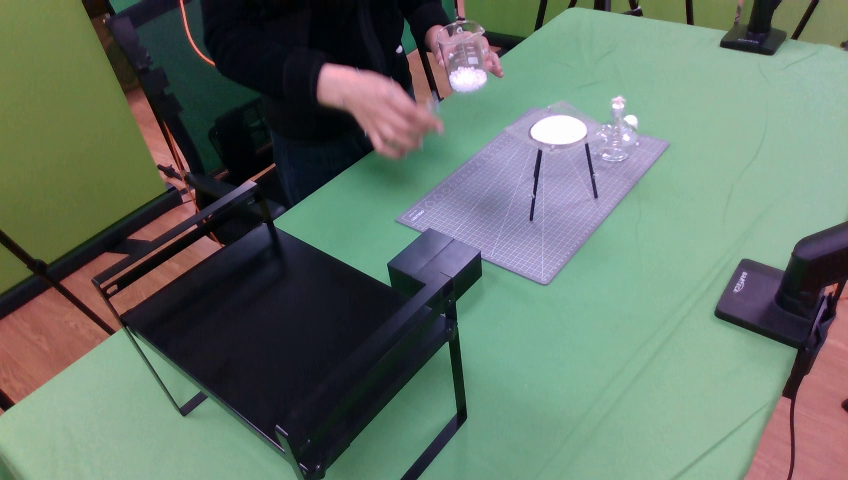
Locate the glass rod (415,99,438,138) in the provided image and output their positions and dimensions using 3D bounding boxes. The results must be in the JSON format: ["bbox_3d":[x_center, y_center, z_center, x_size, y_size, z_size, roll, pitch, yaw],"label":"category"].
[{"bbox_3d":[0.003,-0.169,0.856,0.008,0.008,0.199,-15,-1,-8],"label":"glass rod"}]

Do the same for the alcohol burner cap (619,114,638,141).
[{"bbox_3d":[0.389,-0.215,1.145,0.034,0.048,0.033,-4,41,4],"label":"alcohol burner cap"}]

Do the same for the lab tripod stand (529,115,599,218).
[{"bbox_3d":[0.218,-0.123,0.995,0.148,0.132,0.147,-4,43,4],"label":"lab tripod stand"}]

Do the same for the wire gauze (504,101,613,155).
[{"bbox_3d":[0.211,-0.176,0.955,0.125,0.011,0.120,-24,44,-18],"label":"wire gauze"}]

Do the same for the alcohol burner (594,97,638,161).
[{"bbox_3d":[0.345,-0.203,1.083,0.078,0.119,0.077,-5,42,5],"label":"alcohol burner"}]

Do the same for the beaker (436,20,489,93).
[{"bbox_3d":[0.071,-0.311,1.031,0.083,0.101,0.074,-2,46,17],"label":"beaker"}]
